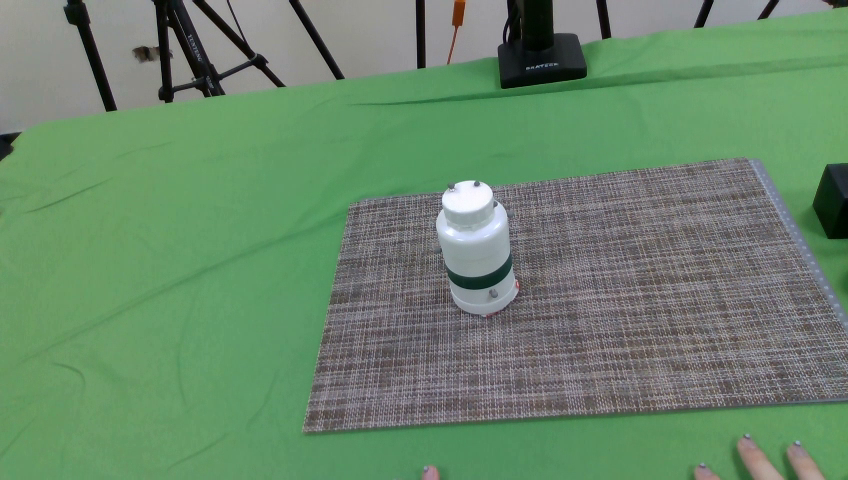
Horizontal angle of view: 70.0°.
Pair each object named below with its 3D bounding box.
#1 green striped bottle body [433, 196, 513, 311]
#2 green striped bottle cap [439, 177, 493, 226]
[{"bbox_3d":[0.044,0.004,0.545,0.063,0.120,0.062,-7,43,7],"label":"green striped bottle body"},{"bbox_3d":[0.036,-0.033,0.509,0.044,0.020,0.044,-8,43,8],"label":"green striped bottle cap"}]
